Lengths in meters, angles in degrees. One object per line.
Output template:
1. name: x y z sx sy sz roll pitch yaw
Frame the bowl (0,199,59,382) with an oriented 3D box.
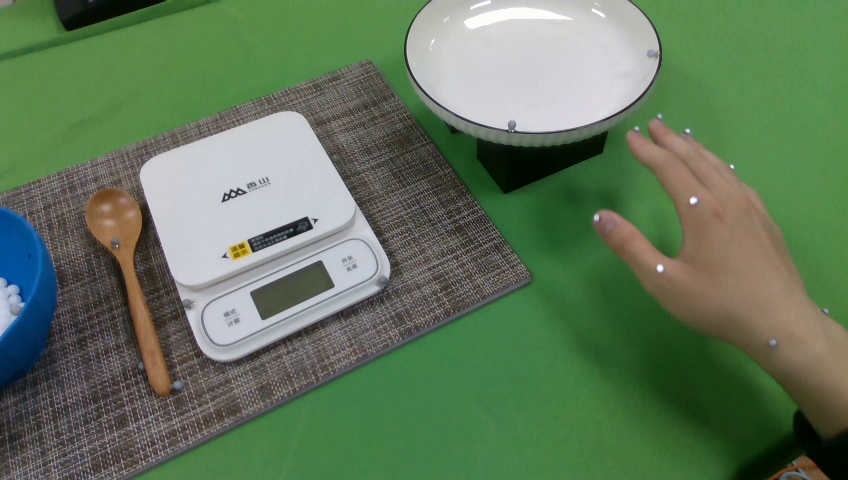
1. bowl: -0.317 0.052 0.414 0.151 0.077 0.150 -1 55 2

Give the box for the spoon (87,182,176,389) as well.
1. spoon: -0.221 0.028 0.460 0.042 0.022 0.191 -15 55 -25

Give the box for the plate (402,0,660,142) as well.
1. plate: 0.086 -0.155 0.505 0.209 0.038 0.207 -1 56 2

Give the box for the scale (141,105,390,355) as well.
1. scale: -0.130 -0.019 0.483 0.149 0.032 0.199 -25 58 -13
